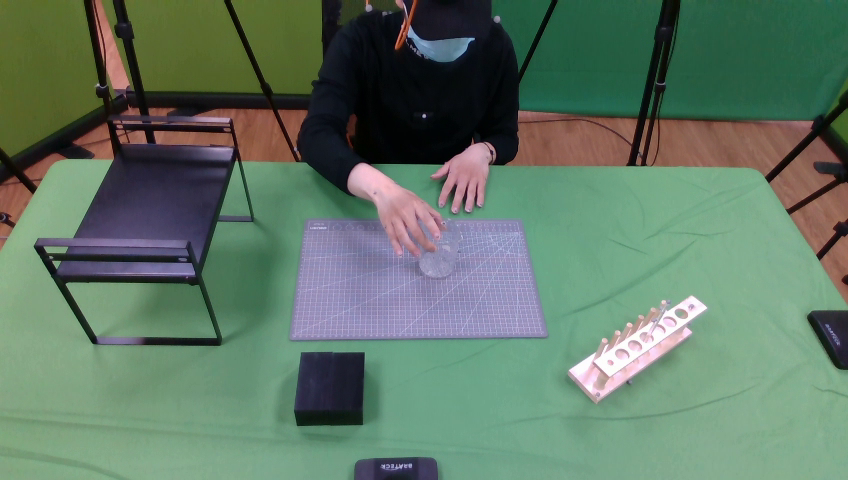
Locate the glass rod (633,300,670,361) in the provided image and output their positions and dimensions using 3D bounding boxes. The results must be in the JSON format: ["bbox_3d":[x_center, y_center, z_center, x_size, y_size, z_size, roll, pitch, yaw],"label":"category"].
[{"bbox_3d":[0.351,0.144,0.944,0.008,0.201,0.008,-1,55,1],"label":"glass rod"}]

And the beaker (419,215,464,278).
[{"bbox_3d":[0.030,0.016,1.122,0.084,0.101,0.073,17,47,11],"label":"beaker"}]

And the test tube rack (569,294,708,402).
[{"bbox_3d":[0.360,0.167,1.015,0.242,0.085,0.066,-25,53,-25],"label":"test tube rack"}]
